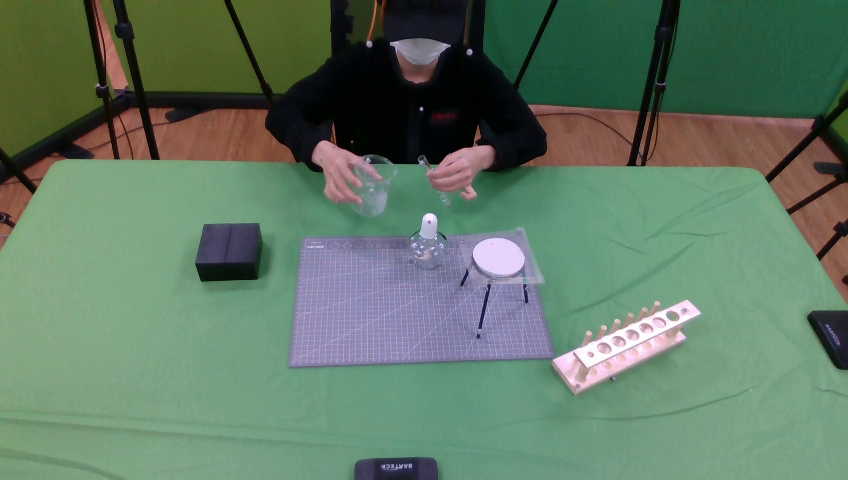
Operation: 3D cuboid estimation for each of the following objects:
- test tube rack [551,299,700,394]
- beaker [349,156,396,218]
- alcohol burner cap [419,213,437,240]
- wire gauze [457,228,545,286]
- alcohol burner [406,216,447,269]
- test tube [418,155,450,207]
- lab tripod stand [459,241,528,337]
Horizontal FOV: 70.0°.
[{"bbox_3d":[0.339,0.166,1.021,0.242,0.085,0.066,-19,50,-21],"label":"test tube rack"},{"bbox_3d":[-0.100,-0.097,1.140,0.084,0.100,0.073,-4,52,-18],"label":"beaker"},{"bbox_3d":[0.009,-0.027,1.109,0.034,0.048,0.033,3,44,-3],"label":"alcohol burner cap"},{"bbox_3d":[0.126,0.028,1.006,0.125,0.011,0.120,-4,46,-10],"label":"wire gauze"},{"bbox_3d":[0.006,-0.003,1.134,0.078,0.120,0.077,2,48,-2],"label":"alcohol burner"},{"bbox_3d":[0.022,-0.112,1.186,0.017,0.151,0.017,-13,51,17],"label":"test tube"},{"bbox_3d":[0.122,0.075,1.054,0.148,0.132,0.147,3,44,-3],"label":"lab tripod stand"}]
